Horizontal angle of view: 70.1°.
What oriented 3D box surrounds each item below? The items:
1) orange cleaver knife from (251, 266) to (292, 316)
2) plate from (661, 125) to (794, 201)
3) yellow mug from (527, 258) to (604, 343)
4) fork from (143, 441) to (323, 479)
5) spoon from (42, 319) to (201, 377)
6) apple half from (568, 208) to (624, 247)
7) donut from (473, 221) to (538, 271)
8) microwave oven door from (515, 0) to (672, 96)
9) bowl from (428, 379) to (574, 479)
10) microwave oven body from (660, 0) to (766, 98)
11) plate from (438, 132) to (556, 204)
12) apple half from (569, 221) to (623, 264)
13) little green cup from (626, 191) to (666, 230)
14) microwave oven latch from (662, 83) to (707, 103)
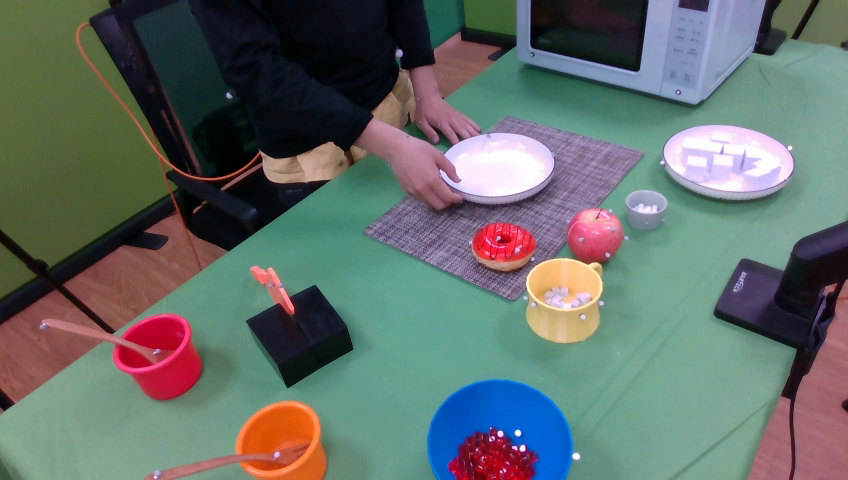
[{"bbox_3d":[-0.221,0.071,0.873,0.012,0.077,0.210,-25,11,-21],"label":"orange cleaver knife"},{"bbox_3d":[0.513,-0.128,1.035,0.207,0.039,0.206,-4,40,4],"label":"plate"},{"bbox_3d":[0.201,0.073,0.825,0.131,0.064,0.099,-32,46,-27],"label":"yellow mug"},{"bbox_3d":[-0.189,0.231,0.631,0.028,0.018,0.209,35,13,37],"label":"fork"},{"bbox_3d":[-0.385,0.135,0.779,0.195,0.021,0.041,29,37,-26],"label":"spoon"},{"bbox_3d":[0.259,-0.014,0.914,0.080,0.075,0.053,0,36,15],"label":"apple half"},{"bbox_3d":[0.124,0.008,0.923,0.099,0.048,0.098,-4,38,3],"label":"donut"},{"bbox_3d":[0.343,-0.454,1.259,0.353,0.245,0.039,26,51,33],"label":"microwave oven door"},{"bbox_3d":[0.082,0.233,0.644,0.151,0.077,0.150,-4,39,4],"label":"bowl"},{"bbox_3d":[0.472,-0.513,1.317,0.438,0.261,0.327,26,51,34],"label":"microwave oven body"},{"bbox_3d":[0.130,-0.125,1.084,0.209,0.038,0.208,-4,40,4],"label":"plate"},{"bbox_3d":[0.251,0.010,0.884,0.081,0.081,0.032,3,37,12],"label":"apple half"},{"bbox_3d":[0.352,-0.046,0.963,0.061,0.039,0.061,-4,40,4],"label":"little green cup"},{"bbox_3d":[0.517,-0.296,1.204,0.078,0.029,0.030,27,52,35],"label":"microwave oven latch"}]
